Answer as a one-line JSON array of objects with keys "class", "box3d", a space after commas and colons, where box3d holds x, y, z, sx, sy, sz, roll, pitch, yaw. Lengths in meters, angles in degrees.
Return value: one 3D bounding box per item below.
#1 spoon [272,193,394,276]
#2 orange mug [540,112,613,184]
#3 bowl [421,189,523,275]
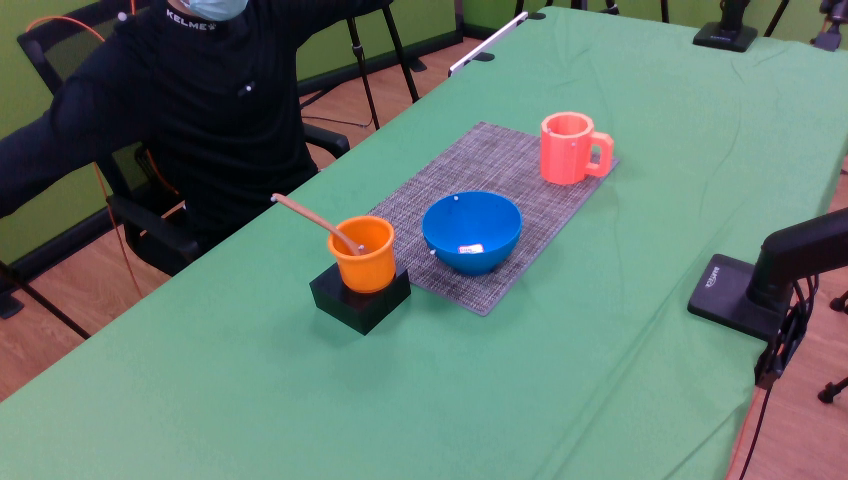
[{"class": "spoon", "box3d": [-0.122, -0.009, 0.822, 0.021, 0.195, 0.041, -38, 23, 37]}, {"class": "orange mug", "box3d": [0.263, -0.157, 1.050, 0.125, 0.101, 0.083, 14, 45, 29]}, {"class": "bowl", "box3d": [0.073, -0.001, 0.910, 0.151, 0.077, 0.150, -4, 41, 4]}]
